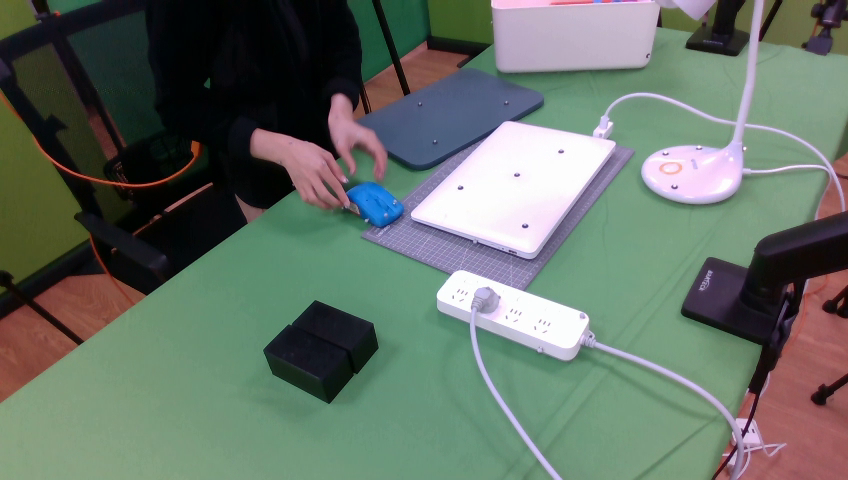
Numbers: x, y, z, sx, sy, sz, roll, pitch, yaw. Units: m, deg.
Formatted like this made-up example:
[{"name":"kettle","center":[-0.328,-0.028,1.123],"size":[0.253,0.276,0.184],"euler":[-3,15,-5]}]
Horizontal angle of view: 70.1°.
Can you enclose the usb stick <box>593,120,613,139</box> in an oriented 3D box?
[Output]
[{"name":"usb stick","center":[0.336,-0.201,1.147],"size":[0.021,0.027,0.059],"euler":[26,53,27]}]

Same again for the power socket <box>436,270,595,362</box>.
[{"name":"power socket","center":[0.118,0.101,0.832],"size":[0.225,0.033,0.072],"euler":[19,48,27]}]

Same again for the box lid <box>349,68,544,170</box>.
[{"name":"box lid","center":[0.051,-0.271,1.297],"size":[0.373,0.015,0.261],"euler":[-32,46,-26]}]

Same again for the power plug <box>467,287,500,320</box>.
[{"name":"power plug","center":[0.073,0.092,0.814],"size":[0.035,0.053,0.073],"euler":[29,54,34]}]

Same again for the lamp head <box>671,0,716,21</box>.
[{"name":"lamp head","center":[0.375,-0.373,0.807],"size":[0.122,0.113,0.112],"euler":[-40,27,32]}]

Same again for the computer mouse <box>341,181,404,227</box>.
[{"name":"computer mouse","center":[-0.091,-0.066,1.052],"size":[0.063,0.041,0.116],"euler":[-33,48,-29]}]

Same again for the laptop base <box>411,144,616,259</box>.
[{"name":"laptop base","center":[0.168,-0.101,1.073],"size":[0.234,0.023,0.355],"euler":[17,46,31]}]

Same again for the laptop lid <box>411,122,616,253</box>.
[{"name":"laptop lid","center":[0.164,-0.111,1.067],"size":[0.240,0.013,0.357],"euler":[19,46,31]}]

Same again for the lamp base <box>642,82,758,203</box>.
[{"name":"lamp base","center":[0.464,-0.174,0.992],"size":[0.179,0.181,0.159],"euler":[-5,41,-1]}]

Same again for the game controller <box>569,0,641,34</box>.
[{"name":"game controller","center":[0.421,-0.522,1.395],"size":[0.155,0.052,0.096],"euler":[-9,44,-3]}]

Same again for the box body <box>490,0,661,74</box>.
[{"name":"box body","center":[0.346,-0.520,1.429],"size":[0.363,0.161,0.253],"euler":[0,41,9]}]
